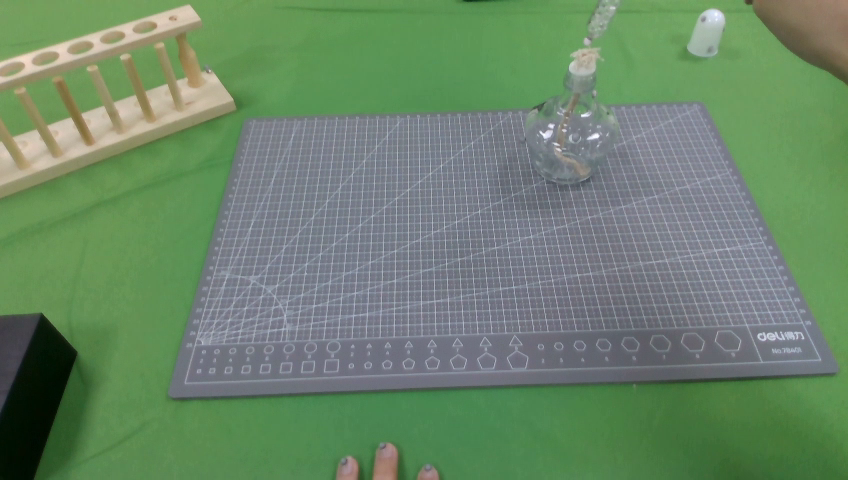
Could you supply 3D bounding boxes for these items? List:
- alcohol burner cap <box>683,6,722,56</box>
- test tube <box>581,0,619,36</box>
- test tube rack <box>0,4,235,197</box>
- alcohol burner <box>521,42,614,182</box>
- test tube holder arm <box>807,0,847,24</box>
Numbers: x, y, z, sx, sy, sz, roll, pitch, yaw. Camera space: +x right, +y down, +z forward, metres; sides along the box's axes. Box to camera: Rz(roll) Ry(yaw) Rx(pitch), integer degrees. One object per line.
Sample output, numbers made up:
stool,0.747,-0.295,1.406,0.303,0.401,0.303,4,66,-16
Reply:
alcohol burner cap,0.299,-0.224,0.645,0.034,0.048,0.033,-2,50,3
test tube,0.138,-0.194,0.380,0.017,0.151,0.017,10,51,-12
test tube rack,-0.311,-0.128,0.555,0.242,0.086,0.066,-27,54,-20
alcohol burner,0.121,-0.107,0.500,0.078,0.120,0.077,-1,48,1
test tube holder arm,0.197,-0.166,0.357,0.177,0.015,0.013,36,53,12
